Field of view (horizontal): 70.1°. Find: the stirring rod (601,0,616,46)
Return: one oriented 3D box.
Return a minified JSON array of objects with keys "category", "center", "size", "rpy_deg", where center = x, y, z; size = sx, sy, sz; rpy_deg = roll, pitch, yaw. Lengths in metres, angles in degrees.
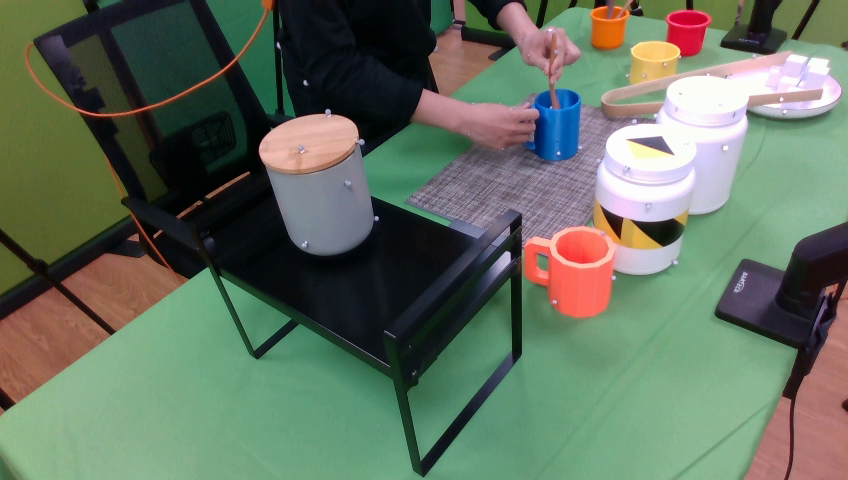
[{"category":"stirring rod","center":[0.452,-0.554,1.464],"size":[0.014,0.006,0.176],"rpy_deg":[11,86,15]}]

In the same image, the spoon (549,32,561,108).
[{"category":"spoon","center":[0.230,-0.273,1.068],"size":[0.021,0.195,0.041],"rpy_deg":[4,45,22]}]

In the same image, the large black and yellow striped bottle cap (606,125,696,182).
[{"category":"large black and yellow striped bottle cap","center":[0.305,-0.119,0.816],"size":[0.115,0.019,0.114],"rpy_deg":[-5,41,5]}]

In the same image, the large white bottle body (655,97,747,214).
[{"category":"large white bottle body","center":[0.431,-0.148,0.959],"size":[0.130,0.185,0.130],"rpy_deg":[-4,41,4]}]

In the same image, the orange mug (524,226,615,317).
[{"category":"orange mug","center":[0.201,0.039,0.845],"size":[0.125,0.101,0.083],"rpy_deg":[18,46,21]}]

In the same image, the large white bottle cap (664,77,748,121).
[{"category":"large white bottle cap","center":[0.421,-0.212,0.905],"size":[0.115,0.018,0.114],"rpy_deg":[-4,40,4]}]

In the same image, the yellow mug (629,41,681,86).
[{"category":"yellow mug","center":[0.495,-0.389,1.321],"size":[0.100,0.064,0.130],"rpy_deg":[-14,40,-6]}]

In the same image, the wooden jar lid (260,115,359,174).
[{"category":"wooden jar lid","center":[-0.124,-0.101,0.662],"size":[0.108,0.021,0.108],"rpy_deg":[-4,41,4]}]

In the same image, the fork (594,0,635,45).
[{"category":"fork","center":[0.484,-0.552,1.447],"size":[0.207,0.019,0.028],"rpy_deg":[-51,46,17]}]

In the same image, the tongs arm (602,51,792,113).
[{"category":"tongs arm","center":[0.552,-0.320,1.224],"size":[0.384,0.027,0.050],"rpy_deg":[-10,43,7]}]

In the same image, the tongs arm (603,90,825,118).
[{"category":"tongs arm","center":[0.546,-0.262,1.163],"size":[0.386,0.028,0.028],"rpy_deg":[-1,49,18]}]

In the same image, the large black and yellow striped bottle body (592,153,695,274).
[{"category":"large black and yellow striped bottle body","center":[0.313,-0.056,0.872],"size":[0.131,0.185,0.130],"rpy_deg":[-4,41,4]}]

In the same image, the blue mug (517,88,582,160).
[{"category":"blue mug","center":[0.231,-0.213,1.121],"size":[0.116,0.106,0.082],"rpy_deg":[-7,41,2]}]

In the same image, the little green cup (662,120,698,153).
[{"category":"little green cup","center":[0.470,-0.191,1.117],"size":[0.061,0.039,0.061],"rpy_deg":[-5,40,4]}]

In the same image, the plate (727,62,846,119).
[{"category":"plate","center":[0.709,-0.292,1.197],"size":[0.207,0.039,0.206],"rpy_deg":[-4,40,4]}]

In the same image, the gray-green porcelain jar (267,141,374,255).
[{"category":"gray-green porcelain jar","center":[-0.117,-0.054,0.703],"size":[0.106,0.127,0.105],"rpy_deg":[-4,40,4]}]
